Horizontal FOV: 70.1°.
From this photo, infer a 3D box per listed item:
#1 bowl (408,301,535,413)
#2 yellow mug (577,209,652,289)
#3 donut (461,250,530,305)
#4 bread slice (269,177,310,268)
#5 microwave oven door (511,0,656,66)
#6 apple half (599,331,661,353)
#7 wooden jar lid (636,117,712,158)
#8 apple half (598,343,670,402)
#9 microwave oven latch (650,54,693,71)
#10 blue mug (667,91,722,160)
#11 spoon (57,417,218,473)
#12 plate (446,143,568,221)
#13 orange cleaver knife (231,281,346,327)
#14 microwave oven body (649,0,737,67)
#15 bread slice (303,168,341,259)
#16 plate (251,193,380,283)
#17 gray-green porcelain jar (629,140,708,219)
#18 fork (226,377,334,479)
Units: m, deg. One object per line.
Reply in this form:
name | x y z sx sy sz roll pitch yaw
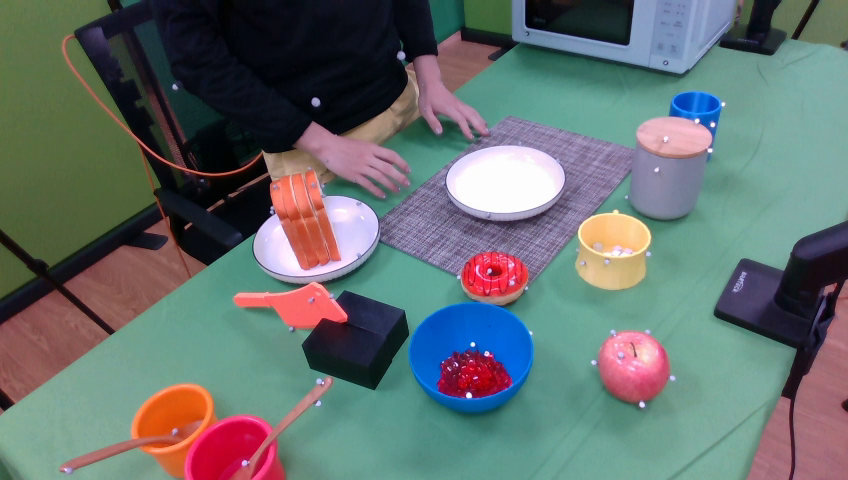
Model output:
bowl | 0.059 0.156 0.739 0.151 0.077 0.150 -4 40 4
yellow mug | 0.279 0.004 0.893 0.099 0.064 0.130 5 41 15
donut | 0.103 0.053 0.872 0.099 0.048 0.098 -5 40 4
bread slice | -0.211 -0.034 0.946 0.019 0.132 0.104 -19 39 -3
microwave oven door | 0.351 -0.539 1.349 0.353 0.245 0.039 24 50 31
apple half | 0.249 0.134 0.738 0.081 0.081 0.032 -2 46 7
wooden jar lid | 0.377 -0.151 0.917 0.108 0.021 0.108 -2 42 3
apple half | 0.247 0.161 0.710 0.081 0.075 0.053 2 47 5
microwave oven latch | 0.531 -0.386 1.301 0.078 0.029 0.030 26 51 33
blue mug | 0.474 -0.207 1.079 0.082 0.106 0.116 4 42 13
spoon | -0.304 0.221 0.661 0.041 0.195 0.021 19 92 27
plate | 0.142 -0.097 1.045 0.207 0.039 0.206 -4 40 4
orange cleaver knife | -0.192 0.093 0.844 0.210 0.077 0.012 -7 31 38
microwave oven body | 0.475 -0.602 1.411 0.438 0.261 0.327 23 50 32
bread slice | -0.161 -0.046 0.952 0.018 0.135 0.106 -18 45 -7
plate | -0.173 -0.001 0.984 0.209 0.038 0.208 -4 41 4
gray-green porcelain jar | 0.383 -0.105 0.958 0.106 0.127 0.105 -4 41 4
fork | -0.163 0.216 0.647 0.207 0.019 0.028 -49 42 16
